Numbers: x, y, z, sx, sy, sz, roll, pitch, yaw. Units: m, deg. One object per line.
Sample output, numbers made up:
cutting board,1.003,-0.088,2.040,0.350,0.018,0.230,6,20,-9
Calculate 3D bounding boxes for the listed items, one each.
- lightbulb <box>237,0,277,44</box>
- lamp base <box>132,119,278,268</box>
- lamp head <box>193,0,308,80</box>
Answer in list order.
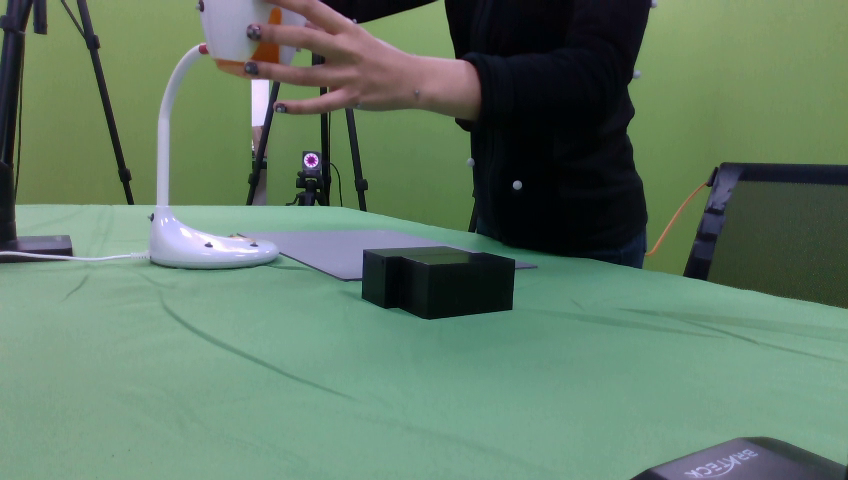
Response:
lightbulb,-0.155,-0.238,0.568,0.059,0.107,0.059,9,0,0
lamp base,-0.279,-0.061,0.770,0.160,0.180,0.180,9,13,44
lamp head,-0.167,-0.214,0.571,0.112,0.123,0.112,9,9,-1
